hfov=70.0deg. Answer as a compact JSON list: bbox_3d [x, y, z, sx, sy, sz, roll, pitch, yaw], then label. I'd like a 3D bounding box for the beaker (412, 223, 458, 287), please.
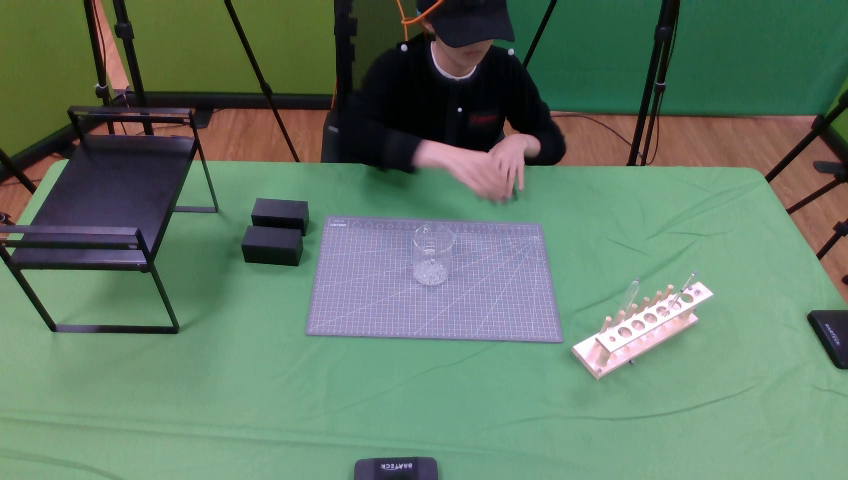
[{"bbox_3d":[0.018,0.030,1.109,0.084,0.101,0.073,-10,48,-14],"label":"beaker"}]

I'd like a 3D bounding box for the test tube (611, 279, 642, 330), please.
[{"bbox_3d":[0.332,0.113,0.999,0.017,0.151,0.017,1,48,-1],"label":"test tube"}]

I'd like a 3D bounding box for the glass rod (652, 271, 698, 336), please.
[{"bbox_3d":[0.403,0.108,0.979,0.008,0.201,0.008,1,53,-1],"label":"glass rod"}]

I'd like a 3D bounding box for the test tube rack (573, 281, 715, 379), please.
[{"bbox_3d":[0.378,0.140,1.038,0.242,0.085,0.066,-22,51,-23],"label":"test tube rack"}]
